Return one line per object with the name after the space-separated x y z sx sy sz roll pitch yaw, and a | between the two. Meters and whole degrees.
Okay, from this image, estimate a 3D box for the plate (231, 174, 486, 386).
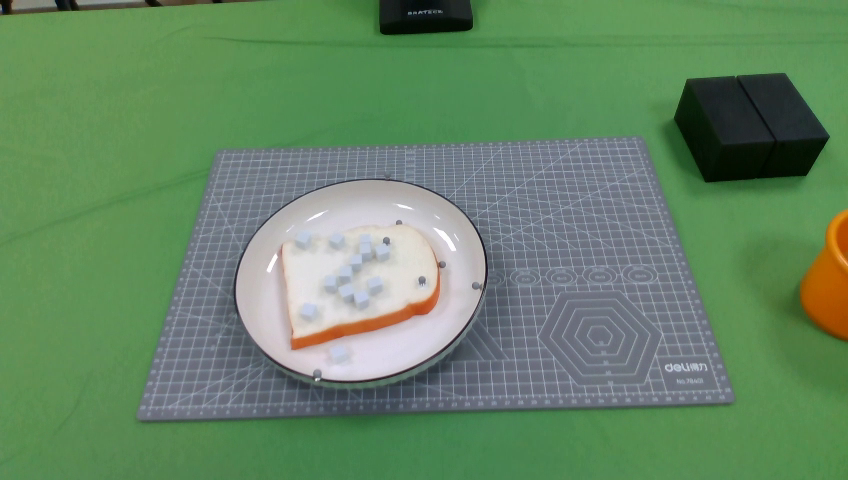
-0.052 0.030 0.508 0.209 0.038 0.207 -1 51 1 | plate

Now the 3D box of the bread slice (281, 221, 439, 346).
-0.055 0.027 0.514 0.132 0.019 0.103 -14 53 -7 | bread slice

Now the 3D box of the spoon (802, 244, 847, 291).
0.379 0.004 0.439 0.193 0.022 0.041 -18 39 42 | spoon
